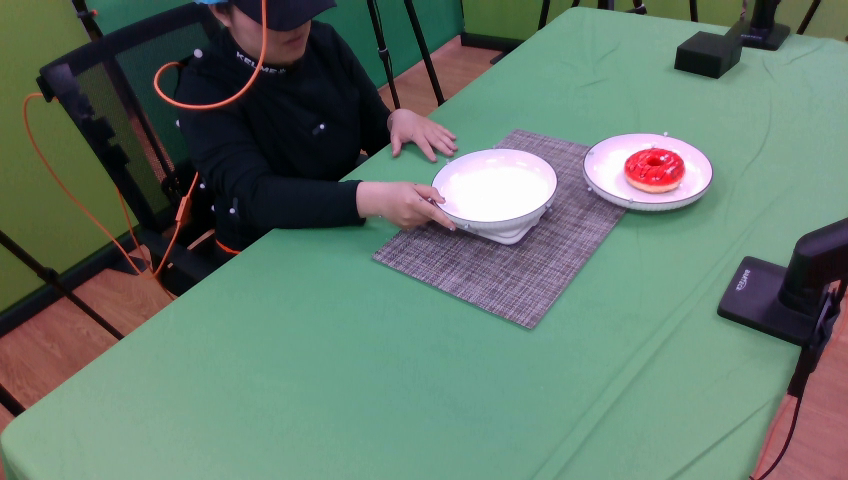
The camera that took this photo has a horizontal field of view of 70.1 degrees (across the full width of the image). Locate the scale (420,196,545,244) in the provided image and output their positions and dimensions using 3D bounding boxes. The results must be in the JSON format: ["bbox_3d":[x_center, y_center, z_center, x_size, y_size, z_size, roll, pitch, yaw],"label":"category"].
[{"bbox_3d":[0.106,-0.064,1.029,0.199,0.032,0.149,21,48,32],"label":"scale"}]

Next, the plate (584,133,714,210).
[{"bbox_3d":[0.379,-0.113,1.030,0.209,0.038,0.208,-4,41,4],"label":"plate"}]

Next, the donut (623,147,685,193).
[{"bbox_3d":[0.388,-0.119,1.019,0.099,0.048,0.098,-4,42,4],"label":"donut"}]

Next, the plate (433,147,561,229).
[{"bbox_3d":[0.120,-0.082,0.996,0.207,0.039,0.206,-6,40,5],"label":"plate"}]
